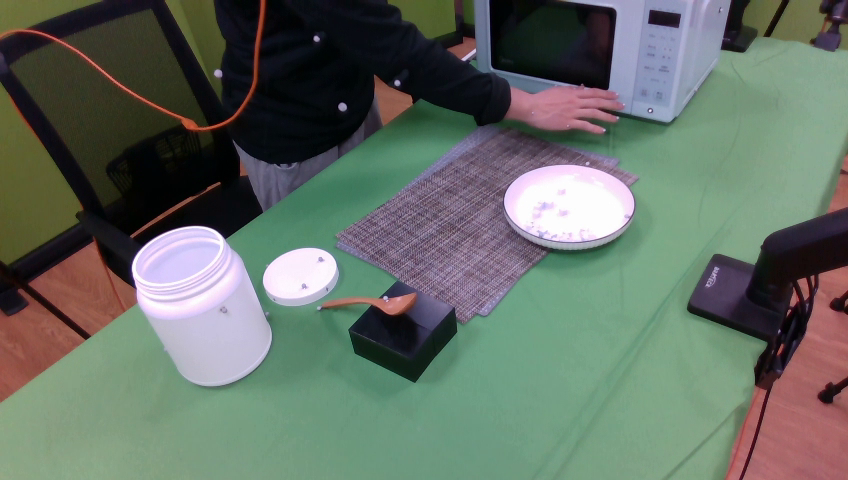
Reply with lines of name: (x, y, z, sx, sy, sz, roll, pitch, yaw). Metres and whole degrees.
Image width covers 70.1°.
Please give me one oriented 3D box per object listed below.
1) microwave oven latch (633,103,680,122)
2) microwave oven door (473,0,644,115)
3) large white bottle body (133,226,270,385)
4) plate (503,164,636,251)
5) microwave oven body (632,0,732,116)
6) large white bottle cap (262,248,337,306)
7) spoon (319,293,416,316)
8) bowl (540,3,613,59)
microwave oven latch: (0.443, -0.249, 1.157, 0.078, 0.029, 0.030, 21, 49, 30)
microwave oven door: (0.257, -0.396, 1.199, 0.353, 0.245, 0.039, 21, 48, 29)
large white bottle body: (-0.285, 0.084, 0.784, 0.130, 0.185, 0.130, -4, 41, 4)
plate: (0.232, -0.051, 0.976, 0.209, 0.038, 0.208, -3, 41, 3)
microwave oven body: (0.377, -0.463, 1.267, 0.438, 0.261, 0.327, 21, 49, 30)
large white bottle cap: (-0.193, 0.056, 0.934, 0.115, 0.018, 0.114, -4, 41, 4)
spoon: (-0.082, 0.086, 0.826, 0.192, 0.022, 0.041, -3, 37, 41)
bowl: (0.324, -0.442, 1.298, 0.151, 0.077, 0.150, -4, 41, 4)
